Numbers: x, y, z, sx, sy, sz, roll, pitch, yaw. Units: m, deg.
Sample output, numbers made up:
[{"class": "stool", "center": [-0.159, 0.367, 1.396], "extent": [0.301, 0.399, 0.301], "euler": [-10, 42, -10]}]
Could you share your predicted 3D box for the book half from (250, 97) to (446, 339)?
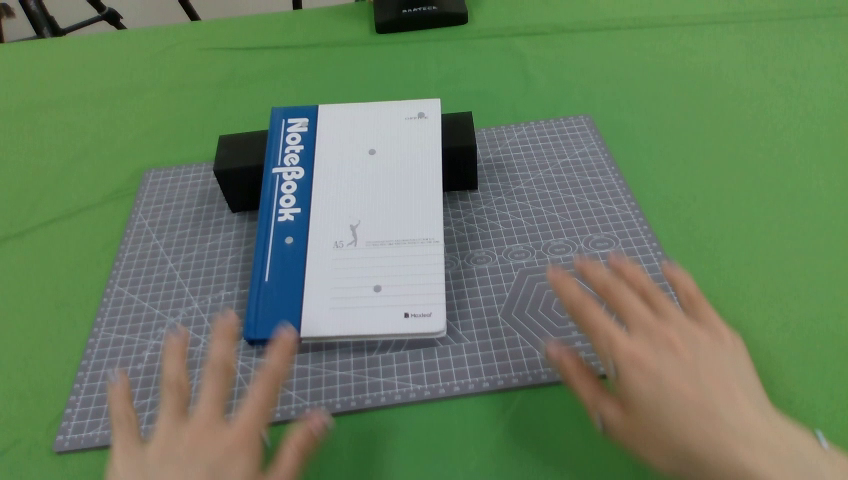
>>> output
[{"class": "book half", "center": [-0.056, -0.025, 0.477], "extent": [0.143, 0.007, 0.208], "euler": [-3, 64, 4]}]
